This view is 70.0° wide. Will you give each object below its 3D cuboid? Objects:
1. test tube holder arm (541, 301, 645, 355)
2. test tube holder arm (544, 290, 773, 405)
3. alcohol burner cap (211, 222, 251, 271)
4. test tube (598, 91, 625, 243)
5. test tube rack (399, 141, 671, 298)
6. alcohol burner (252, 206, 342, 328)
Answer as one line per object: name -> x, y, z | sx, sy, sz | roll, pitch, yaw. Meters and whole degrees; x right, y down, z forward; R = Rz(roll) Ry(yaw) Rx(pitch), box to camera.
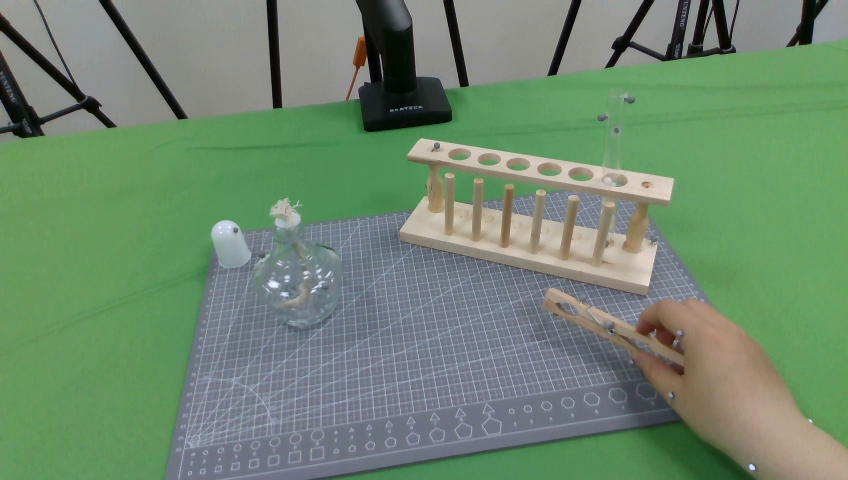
test tube holder arm -> 0.138, 0.070, 0.492 | 0.087, 0.010, 0.015 | 23, 20, 24
test tube holder arm -> 0.177, 0.081, 0.472 | 0.177, 0.013, 0.015 | 24, 20, 24
alcohol burner cap -> -0.192, 0.004, 0.599 | 0.034, 0.048, 0.033 | -1, 40, 1
test tube -> 0.164, -0.059, 0.532 | 0.017, 0.151, 0.017 | -6, 37, 5
test tube rack -> 0.096, -0.024, 0.574 | 0.241, 0.086, 0.066 | 12, 43, 19
alcohol burner -> -0.111, 0.018, 0.518 | 0.078, 0.120, 0.077 | -1, 41, 1
